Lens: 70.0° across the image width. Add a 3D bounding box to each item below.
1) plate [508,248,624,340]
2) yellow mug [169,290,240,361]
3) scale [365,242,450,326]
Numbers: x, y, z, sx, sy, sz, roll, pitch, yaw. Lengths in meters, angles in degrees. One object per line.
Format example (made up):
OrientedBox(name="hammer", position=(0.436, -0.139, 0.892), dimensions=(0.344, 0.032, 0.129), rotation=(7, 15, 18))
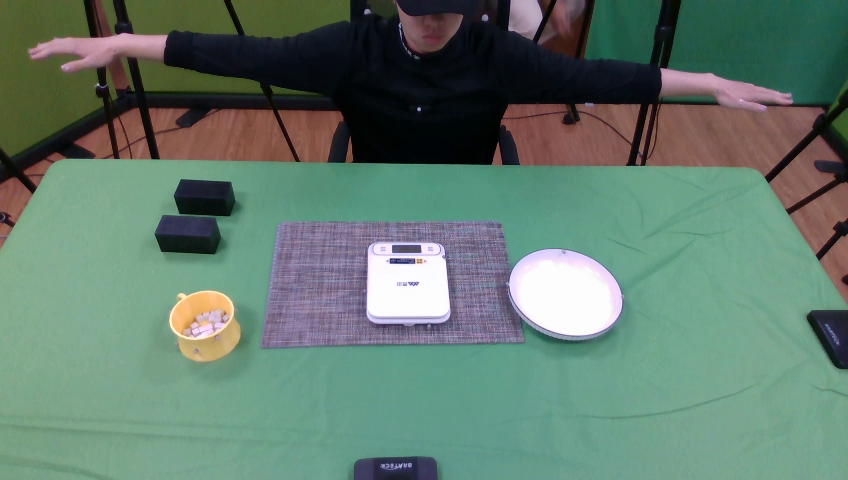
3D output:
OrientedBox(name="plate", position=(0.256, 0.101, 1.106), dimensions=(0.209, 0.038, 0.208), rotation=(2, 45, -2))
OrientedBox(name="yellow mug", position=(-0.373, 0.132, 1.009), dimensions=(0.130, 0.064, 0.100), rotation=(35, 53, 27))
OrientedBox(name="scale", position=(-0.032, 0.071, 1.113), dimensions=(0.149, 0.032, 0.199), rotation=(1, 46, -4))
